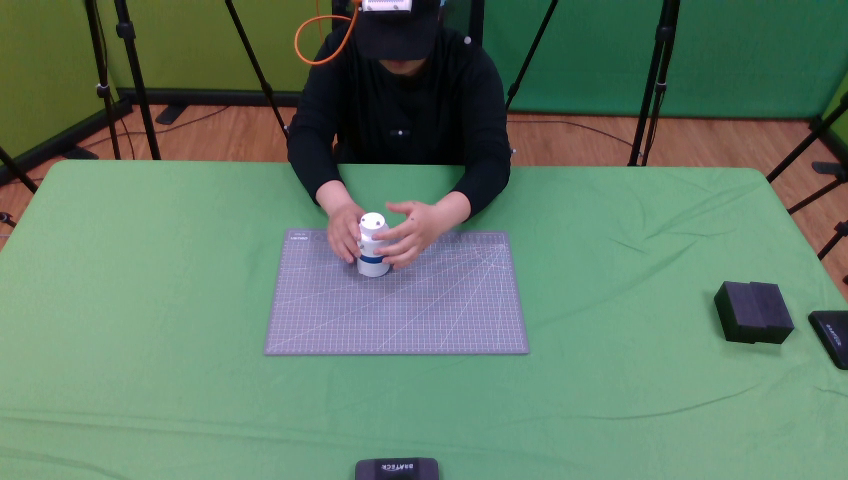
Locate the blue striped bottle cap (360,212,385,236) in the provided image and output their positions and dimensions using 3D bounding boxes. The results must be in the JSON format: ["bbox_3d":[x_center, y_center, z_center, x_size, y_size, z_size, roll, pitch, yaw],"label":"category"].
[{"bbox_3d":[-0.092,-0.029,1.076,0.044,0.021,0.044,2,48,-2],"label":"blue striped bottle cap"}]

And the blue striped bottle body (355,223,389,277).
[{"bbox_3d":[-0.095,0.007,1.112,0.063,0.121,0.062,2,45,-2],"label":"blue striped bottle body"}]
